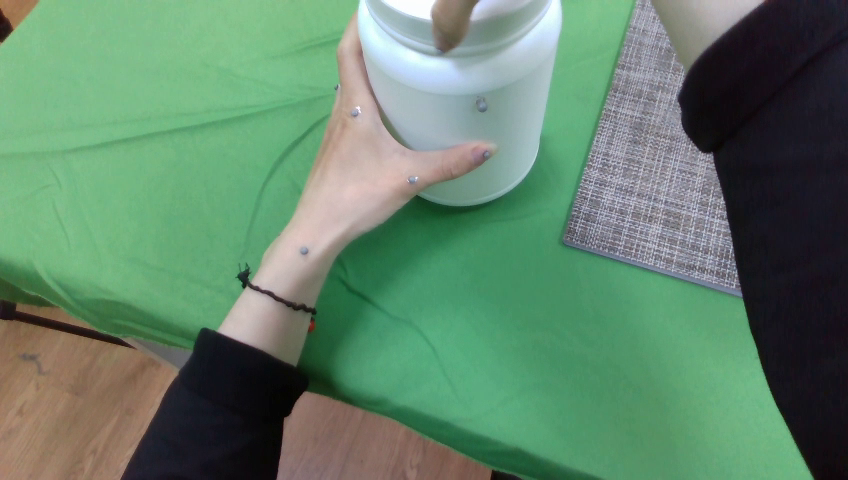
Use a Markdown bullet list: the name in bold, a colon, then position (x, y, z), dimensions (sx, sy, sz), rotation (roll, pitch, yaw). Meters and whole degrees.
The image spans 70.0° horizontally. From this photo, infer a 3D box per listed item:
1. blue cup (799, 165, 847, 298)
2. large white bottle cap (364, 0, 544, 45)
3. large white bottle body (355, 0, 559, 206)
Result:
- **blue cup**: position (0.300, -0.008, 0.397), dimensions (0.092, 0.101, 0.092), rotation (-2, 62, 4)
- **large white bottle cap**: position (0.018, -0.162, 0.351), dimensions (0.115, 0.018, 0.114), rotation (-1, 64, 3)
- **large white bottle body**: position (0.023, -0.123, 0.427), dimensions (0.130, 0.186, 0.129), rotation (-1, 62, 3)
